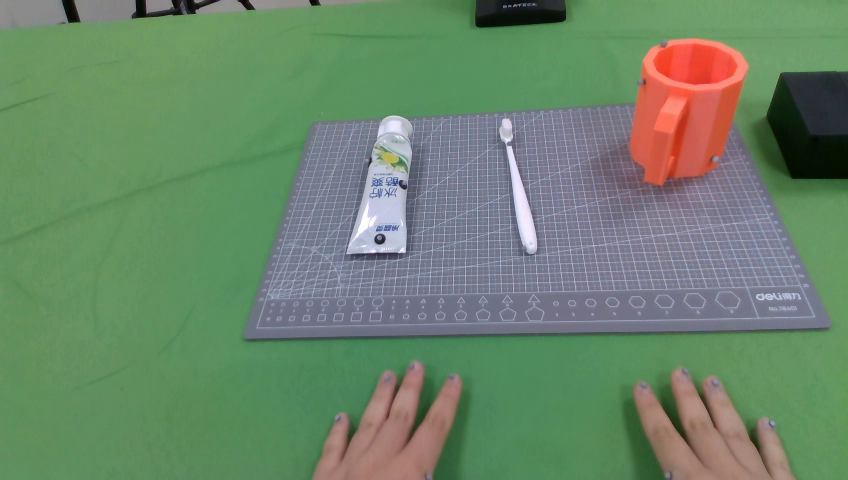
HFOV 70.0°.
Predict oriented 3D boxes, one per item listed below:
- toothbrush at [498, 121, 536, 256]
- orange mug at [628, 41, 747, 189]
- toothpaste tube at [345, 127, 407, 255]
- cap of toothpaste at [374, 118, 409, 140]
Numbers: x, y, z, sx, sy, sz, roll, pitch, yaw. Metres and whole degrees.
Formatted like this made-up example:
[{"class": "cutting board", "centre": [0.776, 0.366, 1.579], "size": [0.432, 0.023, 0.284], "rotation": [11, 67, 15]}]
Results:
[{"class": "toothbrush", "centre": [0.088, -0.055, 0.577], "size": [0.014, 0.017, 0.180], "rotation": [3, 47, -6]}, {"class": "orange mug", "centre": [0.230, -0.108, 0.550], "size": [0.083, 0.102, 0.126], "rotation": [20, 48, 26]}, {"class": "toothpaste tube", "centre": [-0.040, -0.052, 0.585], "size": [0.055, 0.035, 0.163], "rotation": [-5, 50, 10]}, {"class": "cap of toothpaste", "centre": [-0.034, -0.112, 0.632], "size": [0.037, 0.038, 0.011], "rotation": [1, 53, 9]}]
